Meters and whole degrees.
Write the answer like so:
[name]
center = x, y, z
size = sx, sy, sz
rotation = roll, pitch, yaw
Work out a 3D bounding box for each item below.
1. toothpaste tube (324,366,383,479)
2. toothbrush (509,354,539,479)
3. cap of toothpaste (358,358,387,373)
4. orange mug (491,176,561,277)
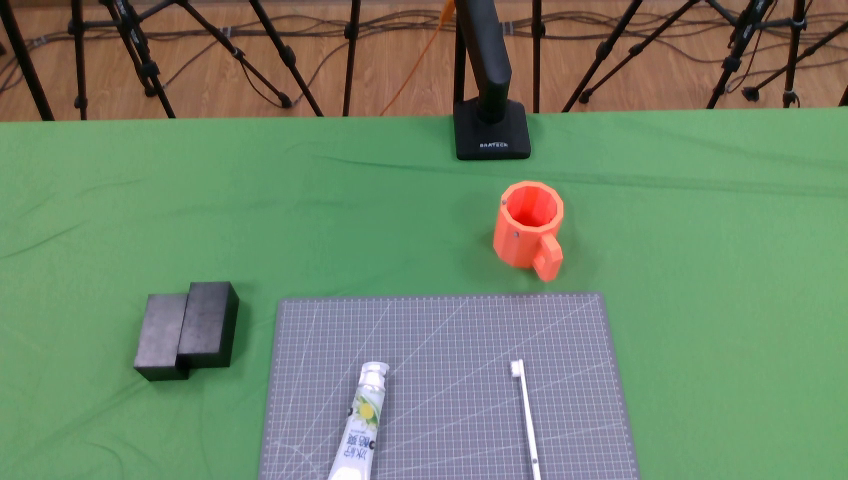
[toothpaste tube]
center = -0.081, 0.230, 0.729
size = 0.055, 0.035, 0.164
rotation = 6, 63, 11
[toothbrush]
center = 0.125, 0.226, 0.743
size = 0.016, 0.014, 0.180
rotation = -5, 59, 0
[cap of toothpaste]
center = -0.065, 0.159, 0.765
size = 0.037, 0.037, 0.011
rotation = 0, 57, -1
[orange mug]
center = 0.149, -0.014, 0.843
size = 0.083, 0.102, 0.125
rotation = -20, 57, -12
